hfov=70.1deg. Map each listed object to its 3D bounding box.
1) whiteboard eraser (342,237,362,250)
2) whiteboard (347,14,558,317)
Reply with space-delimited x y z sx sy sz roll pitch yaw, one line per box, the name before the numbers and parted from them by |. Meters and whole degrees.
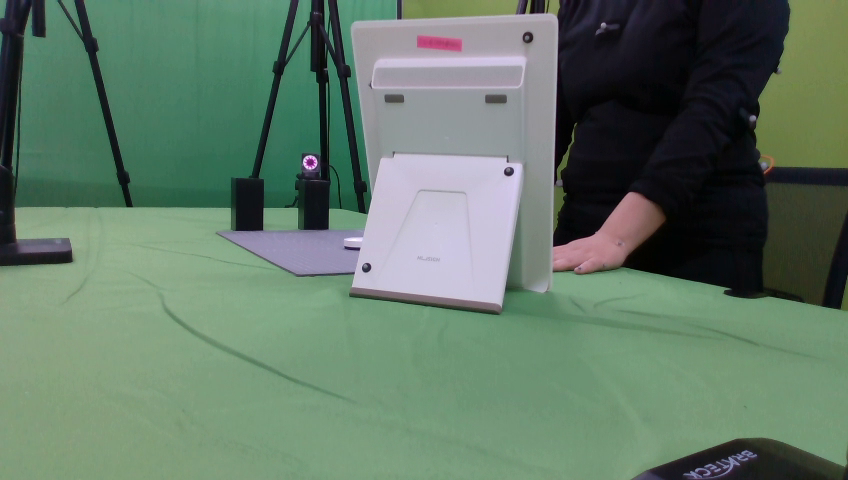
whiteboard eraser | -0.082 0.004 0.968 0.102 0.019 0.041 0 7 -31
whiteboard | 0.012 -0.056 0.609 0.216 0.305 0.144 5 27 20
